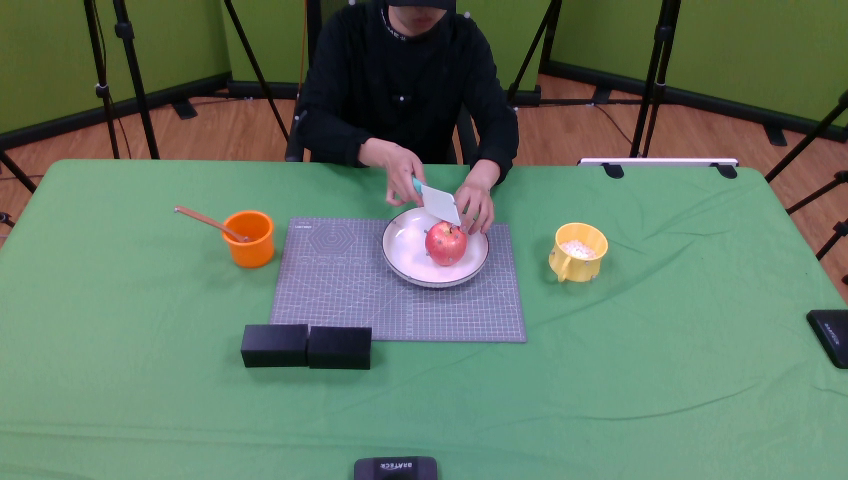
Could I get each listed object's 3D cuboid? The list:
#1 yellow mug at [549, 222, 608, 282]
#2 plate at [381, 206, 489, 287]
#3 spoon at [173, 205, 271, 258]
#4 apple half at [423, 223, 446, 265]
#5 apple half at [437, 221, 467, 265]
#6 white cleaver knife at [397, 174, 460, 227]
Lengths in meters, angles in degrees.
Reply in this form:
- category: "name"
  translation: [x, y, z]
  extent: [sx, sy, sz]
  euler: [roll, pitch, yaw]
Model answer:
- category: "yellow mug"
  translation: [0.287, 0.031, 1.159]
  extent: [0.099, 0.064, 0.130]
  euler: [27, 51, 21]
- category: "plate"
  translation: [0.021, 0.015, 1.170]
  extent: [0.209, 0.038, 0.208]
  euler: [2, 46, -2]
- category: "spoon"
  translation: [-0.362, -0.017, 1.098]
  extent: [0.021, 0.195, 0.041]
  euler: [-32, 42, 27]
- category: "apple half"
  translation: [0.015, 0.011, 1.135]
  extent: [0.033, 0.081, 0.080]
  euler: [-5, 46, -17]
- category: "apple half"
  translation: [0.053, 0.006, 1.145]
  extent: [0.053, 0.075, 0.080]
  euler: [-6, 41, -15]
- category: "white cleaver knife"
  translation: [0.002, -0.077, 1.134]
  extent: [0.021, 0.066, 0.285]
  euler: [-13, 18, -17]
